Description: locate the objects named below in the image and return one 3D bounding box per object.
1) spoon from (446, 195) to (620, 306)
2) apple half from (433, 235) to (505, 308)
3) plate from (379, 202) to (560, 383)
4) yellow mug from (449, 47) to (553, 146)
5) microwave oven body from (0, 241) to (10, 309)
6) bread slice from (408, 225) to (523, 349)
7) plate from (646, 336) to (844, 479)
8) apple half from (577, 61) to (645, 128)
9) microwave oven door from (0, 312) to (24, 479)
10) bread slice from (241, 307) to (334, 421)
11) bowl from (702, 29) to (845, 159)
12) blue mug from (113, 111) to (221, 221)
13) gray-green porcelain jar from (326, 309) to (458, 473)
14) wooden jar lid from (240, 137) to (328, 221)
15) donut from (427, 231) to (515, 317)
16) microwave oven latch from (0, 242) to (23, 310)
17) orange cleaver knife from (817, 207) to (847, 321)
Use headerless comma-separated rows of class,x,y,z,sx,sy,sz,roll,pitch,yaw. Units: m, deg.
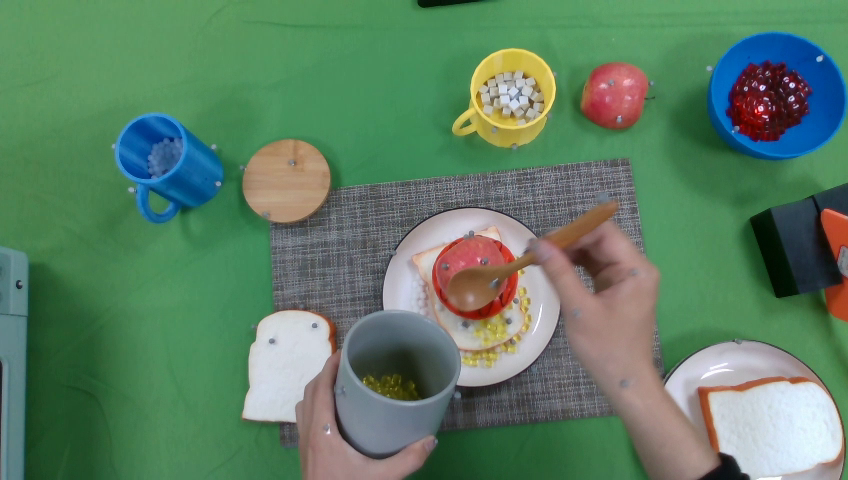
spoon,0.079,0.013,0.479,0.042,0.194,0.021,45,52,-8
apple half,0.049,0.032,0.645,0.081,0.033,0.081,-2,78,9
plate,0.052,0.060,0.706,0.207,0.039,0.207,0,81,2
yellow mug,0.088,-0.165,0.733,0.131,0.064,0.099,-29,80,-2
microwave oven body,-0.630,0.213,0.593,0.326,0.261,0.440,-6,80,1
bread slice,0.056,0.059,0.709,0.107,0.018,0.133,-23,78,-2
plate,0.348,0.211,0.671,0.209,0.038,0.208,0,80,3
apple half,0.230,-0.184,0.737,0.074,0.053,0.080,16,81,8
microwave oven door,-0.482,0.240,0.578,0.039,0.245,0.354,-6,80,2
bread slice,-0.159,0.144,0.710,0.105,0.019,0.131,2,81,2
bowl,0.394,-0.159,0.713,0.151,0.077,0.151,0,81,3
blue mug,-0.303,-0.078,0.713,0.082,0.106,0.116,15,81,5
gray-green porcelain jar,-0.034,0.145,0.564,0.106,0.127,0.105,10,39,-8
wooden jar lid,-0.171,-0.074,0.747,0.108,0.021,0.108,-1,77,3
donut,0.054,0.039,0.681,0.099,0.048,0.098,0,81,3
microwave oven latch,-0.495,0.043,0.715,0.030,0.029,0.079,-1,81,2
orange cleaver knife,0.470,0.066,0.669,0.012,0.077,0.212,-17,101,-7
